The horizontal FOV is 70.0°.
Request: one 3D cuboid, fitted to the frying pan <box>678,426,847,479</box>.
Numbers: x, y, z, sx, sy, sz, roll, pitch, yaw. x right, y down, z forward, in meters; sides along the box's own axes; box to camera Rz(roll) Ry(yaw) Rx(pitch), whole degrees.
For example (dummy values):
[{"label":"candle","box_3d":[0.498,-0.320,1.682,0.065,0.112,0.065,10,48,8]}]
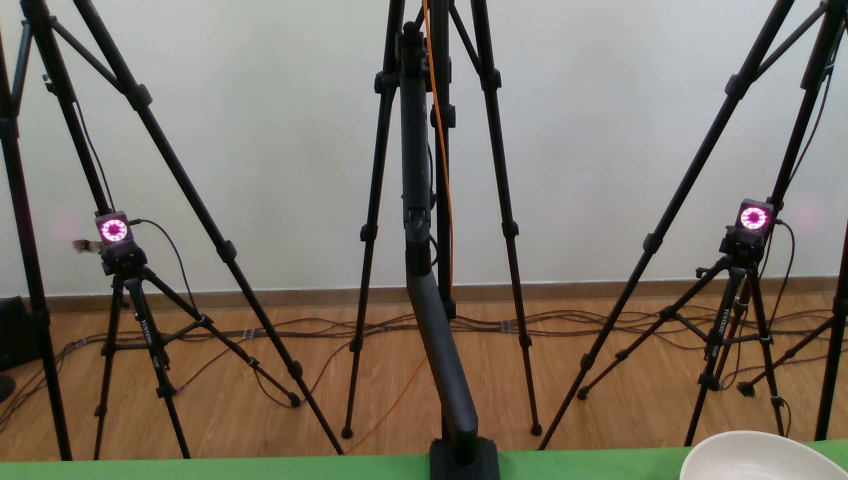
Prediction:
[{"label":"frying pan","box_3d":[0.528,0.468,0.837,0.306,0.103,0.484,1,26,6]}]
